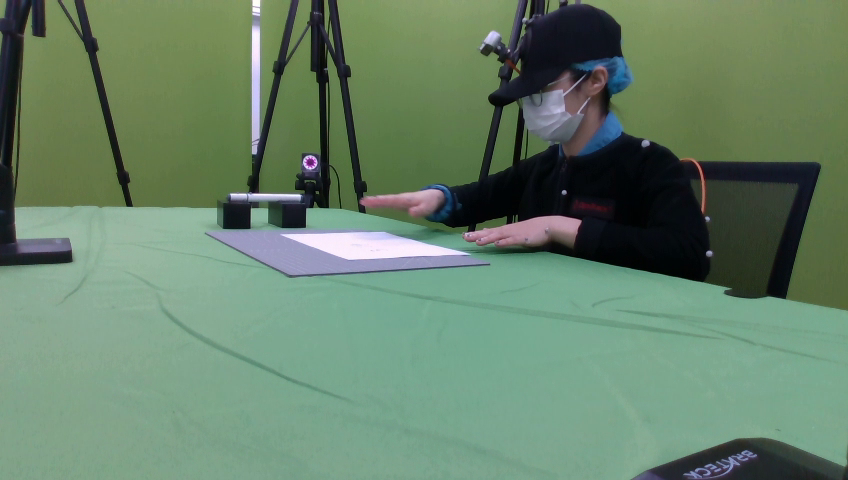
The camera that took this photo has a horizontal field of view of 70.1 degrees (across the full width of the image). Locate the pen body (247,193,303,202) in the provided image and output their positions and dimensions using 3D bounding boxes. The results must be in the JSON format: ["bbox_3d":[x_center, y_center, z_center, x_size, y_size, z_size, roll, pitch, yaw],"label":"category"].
[{"bbox_3d":[-0.320,-0.087,1.244,0.145,0.017,0.017,-2,9,-33],"label":"pen body"}]

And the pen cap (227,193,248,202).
[{"bbox_3d":[-0.373,-0.085,1.209,0.039,0.017,0.017,-1,8,-34],"label":"pen cap"}]
